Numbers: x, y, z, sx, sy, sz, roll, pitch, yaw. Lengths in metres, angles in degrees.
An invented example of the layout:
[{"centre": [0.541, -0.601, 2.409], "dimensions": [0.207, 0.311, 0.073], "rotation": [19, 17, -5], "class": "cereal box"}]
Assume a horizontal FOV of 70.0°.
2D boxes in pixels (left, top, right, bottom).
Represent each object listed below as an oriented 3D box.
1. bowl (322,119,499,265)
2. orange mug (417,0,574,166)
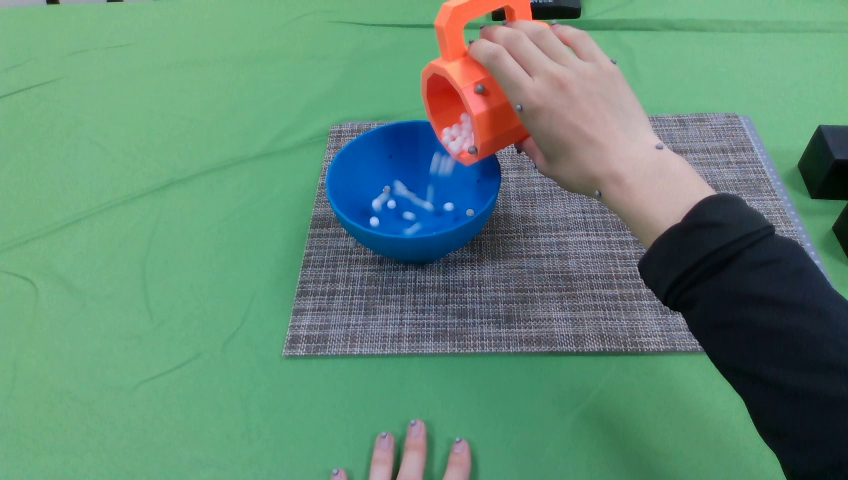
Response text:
[{"centre": [-0.009, -0.031, 0.539], "dimensions": [0.151, 0.077, 0.150], "rotation": [-2, 48, 3], "class": "bowl"}, {"centre": [0.052, -0.133, 0.483], "dimensions": [0.101, 0.127, 0.082], "rotation": [-31, 37, -15], "class": "orange mug"}]
